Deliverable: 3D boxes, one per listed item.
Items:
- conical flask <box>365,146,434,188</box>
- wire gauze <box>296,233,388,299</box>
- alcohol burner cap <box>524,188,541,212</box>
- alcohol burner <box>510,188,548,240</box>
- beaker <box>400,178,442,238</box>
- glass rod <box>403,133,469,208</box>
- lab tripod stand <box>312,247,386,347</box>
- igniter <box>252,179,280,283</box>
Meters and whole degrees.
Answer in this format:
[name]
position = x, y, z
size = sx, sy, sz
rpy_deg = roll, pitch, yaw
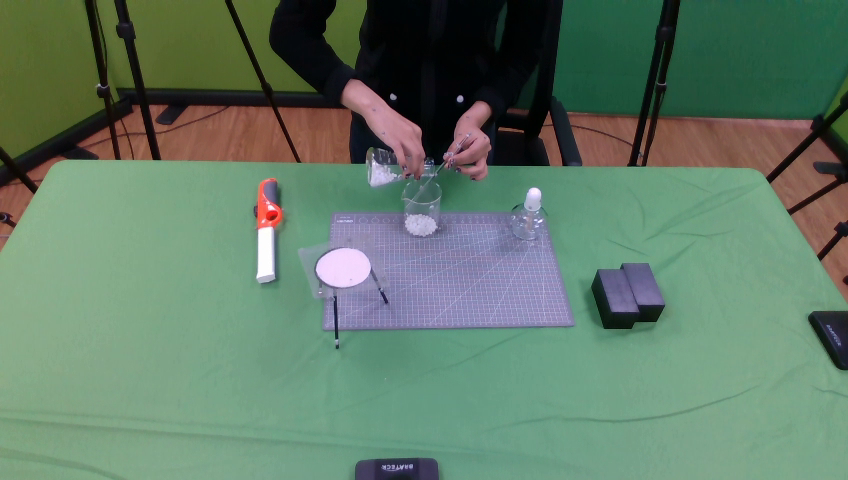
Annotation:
[conical flask]
position = -0.045, -0.134, 1.111
size = 0.122, 0.075, 0.075
rpy_deg = -2, 46, -14
[wire gauze]
position = -0.133, 0.041, 0.977
size = 0.125, 0.011, 0.120
rpy_deg = -12, 47, -16
[alcohol burner cap]
position = 0.212, -0.081, 1.177
size = 0.034, 0.048, 0.033
rpy_deg = -2, 54, 2
[alcohol burner]
position = 0.211, -0.057, 1.204
size = 0.078, 0.120, 0.077
rpy_deg = 1, 47, -1
[beaker]
position = -0.009, -0.059, 1.200
size = 0.084, 0.101, 0.073
rpy_deg = -14, 49, -17
[glass rod]
position = 0.020, -0.128, 1.138
size = 0.008, 0.200, 0.008
rpy_deg = 31, 31, -21
[lab tripod stand]
position = -0.134, 0.085, 1.028
size = 0.148, 0.132, 0.147
rpy_deg = 2, 45, -1
[igniter]
position = -0.312, -0.027, 1.197
size = 0.057, 0.025, 0.274
rpy_deg = -12, 47, -1
